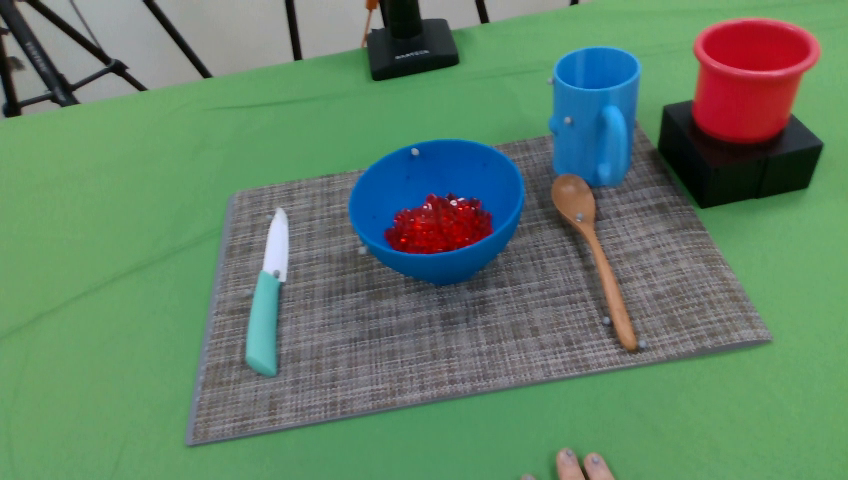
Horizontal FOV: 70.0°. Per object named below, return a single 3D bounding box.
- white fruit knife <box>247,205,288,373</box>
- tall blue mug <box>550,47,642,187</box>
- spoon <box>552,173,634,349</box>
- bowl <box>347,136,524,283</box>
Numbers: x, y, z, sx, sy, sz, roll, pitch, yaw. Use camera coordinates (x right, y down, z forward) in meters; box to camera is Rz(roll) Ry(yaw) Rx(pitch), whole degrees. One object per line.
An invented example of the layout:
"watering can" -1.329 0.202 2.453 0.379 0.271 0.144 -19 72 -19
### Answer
"white fruit knife" -0.143 0.035 0.563 0.027 0.016 0.205 13 40 -18
"tall blue mug" 0.172 -0.109 0.574 0.078 0.109 0.106 -30 47 -18
"spoon" 0.147 0.010 0.523 0.042 0.022 0.191 4 44 -10
"bowl" 0.014 -0.015 0.535 0.151 0.077 0.150 -6 45 6
